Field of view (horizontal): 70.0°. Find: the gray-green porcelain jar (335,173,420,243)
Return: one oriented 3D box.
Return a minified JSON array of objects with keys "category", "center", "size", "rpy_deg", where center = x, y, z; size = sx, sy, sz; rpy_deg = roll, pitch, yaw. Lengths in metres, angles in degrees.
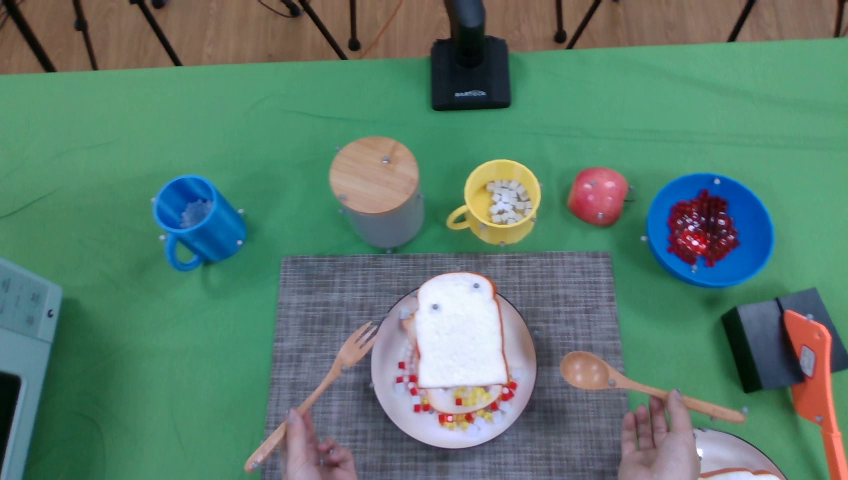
[{"category":"gray-green porcelain jar","center":[-0.060,-0.060,0.797],"size":[0.106,0.127,0.105],"rpy_deg":[-1,69,3]}]

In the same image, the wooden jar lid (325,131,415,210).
[{"category":"wooden jar lid","center":[-0.065,-0.083,0.737],"size":[0.108,0.021,0.107],"rpy_deg":[0,67,1]}]

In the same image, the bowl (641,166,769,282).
[{"category":"bowl","center":[0.347,-0.010,0.778],"size":[0.151,0.077,0.150],"rpy_deg":[-1,70,4]}]

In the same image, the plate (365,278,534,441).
[{"category":"plate","center":[0.031,0.144,0.759],"size":[0.207,0.039,0.206],"rpy_deg":[-1,70,3]}]

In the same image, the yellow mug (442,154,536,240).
[{"category":"yellow mug","center":[0.085,-0.052,0.817],"size":[0.131,0.064,0.099],"rpy_deg":[-22,70,-4]}]

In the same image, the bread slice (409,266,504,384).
[{"category":"bread slice","center":[0.032,0.095,0.681],"size":[0.105,0.019,0.131],"rpy_deg":[-6,83,8]}]

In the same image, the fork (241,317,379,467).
[{"category":"fork","center":[-0.121,0.163,0.662],"size":[0.028,0.018,0.207],"rpy_deg":[49,59,-12]}]

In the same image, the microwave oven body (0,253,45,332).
[{"category":"microwave oven body","center":[-0.666,0.217,0.656],"size":[0.326,0.262,0.438],"rpy_deg":[-1,70,3]}]

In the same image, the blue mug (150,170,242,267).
[{"category":"blue mug","center":[-0.308,-0.019,0.808],"size":[0.082,0.106,0.116],"rpy_deg":[19,72,10]}]

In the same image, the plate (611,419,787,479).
[{"category":"plate","center":[0.310,0.310,0.683],"size":[0.209,0.038,0.207],"rpy_deg":[-1,69,4]}]

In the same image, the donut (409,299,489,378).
[{"category":"donut","center":[0.031,0.120,0.738],"size":[0.099,0.048,0.098],"rpy_deg":[-1,70,3]}]

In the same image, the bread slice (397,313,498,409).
[{"category":"bread slice","center":[0.036,0.142,0.759],"size":[0.107,0.018,0.133],"rpy_deg":[-18,71,-2]}]

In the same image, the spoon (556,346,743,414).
[{"category":"spoon","center":[0.240,0.156,0.655],"size":[0.192,0.022,0.041],"rpy_deg":[13,77,21]}]

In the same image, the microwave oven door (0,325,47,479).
[{"category":"microwave oven door","center":[-0.521,0.253,0.629],"size":[0.039,0.245,0.353],"rpy_deg":[-1,69,4]}]

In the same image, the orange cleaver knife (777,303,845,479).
[{"category":"orange cleaver knife","center":[0.445,0.178,0.700],"size":[0.012,0.077,0.211],"rpy_deg":[-10,91,-7]}]

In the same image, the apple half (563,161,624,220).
[{"category":"apple half","center":[0.232,-0.074,0.823],"size":[0.074,0.054,0.080],"rpy_deg":[20,72,13]}]

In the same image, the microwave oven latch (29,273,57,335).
[{"category":"microwave oven latch","center":[-0.510,0.084,0.799],"size":[0.030,0.030,0.078],"rpy_deg":[2,70,4]}]
